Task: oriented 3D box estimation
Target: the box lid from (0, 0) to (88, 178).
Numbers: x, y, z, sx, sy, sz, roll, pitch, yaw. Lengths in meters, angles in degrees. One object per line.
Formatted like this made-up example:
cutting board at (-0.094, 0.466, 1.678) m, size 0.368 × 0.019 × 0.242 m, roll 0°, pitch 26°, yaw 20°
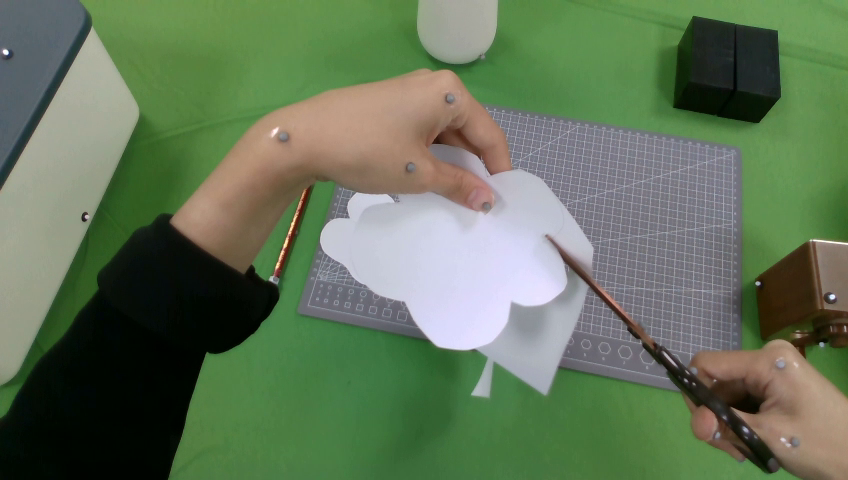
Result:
box lid at (-0.479, -0.095, 0.520) m, size 0.263 × 0.015 × 0.369 m, roll 11°, pitch 67°, yaw 3°

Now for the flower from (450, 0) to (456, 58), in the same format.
flower at (0.031, -0.346, 0.607) m, size 0.044 × 0.365 × 0.038 m, roll 4°, pitch 49°, yaw 5°

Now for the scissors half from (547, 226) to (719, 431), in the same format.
scissors half at (0.127, 0.054, 0.353) m, size 0.013 × 0.040 × 0.176 m, roll -42°, pitch 105°, yaw 6°

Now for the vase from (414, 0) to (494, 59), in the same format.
vase at (0.035, -0.300, 0.678) m, size 0.098 × 0.201 × 0.097 m, roll 0°, pitch 65°, yaw 1°

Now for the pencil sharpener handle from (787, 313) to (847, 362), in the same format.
pencil sharpener handle at (0.362, 0.091, 0.553) m, size 0.036 × 0.068 × 0.030 m, roll 12°, pitch 67°, yaw -11°

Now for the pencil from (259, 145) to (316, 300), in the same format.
pencil at (-0.145, -0.025, 0.662) m, size 0.012 × 0.012 × 0.193 m, roll 11°, pitch 65°, yaw 5°

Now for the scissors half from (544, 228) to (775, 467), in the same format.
scissors half at (0.127, 0.057, 0.332) m, size 0.013 × 0.040 × 0.175 m, roll -43°, pitch 84°, yaw 1°

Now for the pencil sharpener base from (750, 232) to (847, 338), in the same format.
pencil sharpener base at (0.372, 0.050, 0.584) m, size 0.061 × 0.108 × 0.076 m, roll 6°, pitch 67°, yaw 2°

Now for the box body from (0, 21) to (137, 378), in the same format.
box body at (-0.479, -0.063, 0.589) m, size 0.254 × 0.161 × 0.361 m, roll 11°, pitch 67°, yaw 4°
